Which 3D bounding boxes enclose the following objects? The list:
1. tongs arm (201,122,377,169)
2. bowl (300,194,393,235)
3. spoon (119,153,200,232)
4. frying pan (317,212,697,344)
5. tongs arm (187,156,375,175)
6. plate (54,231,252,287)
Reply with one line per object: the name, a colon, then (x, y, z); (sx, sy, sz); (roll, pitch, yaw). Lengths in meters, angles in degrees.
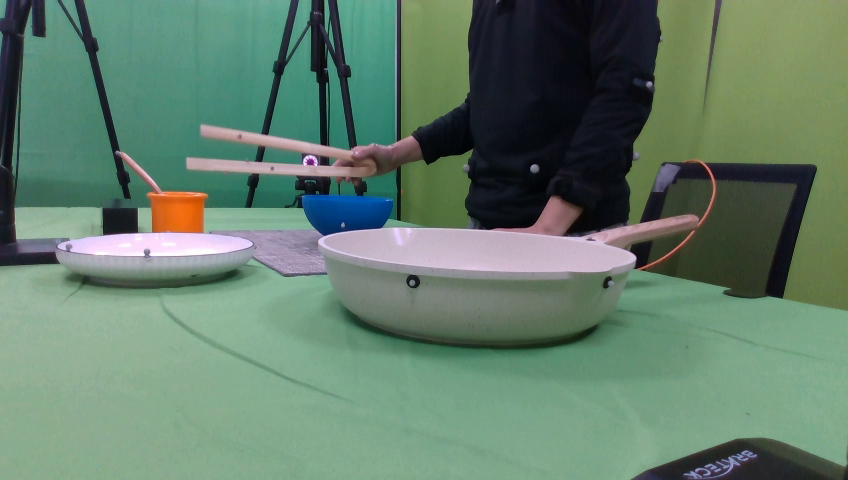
tongs arm: (-0.251, -0.188, 1.209); (0.390, 0.027, 0.028); (5, -31, -39)
bowl: (-0.128, -0.034, 0.995); (0.151, 0.077, 0.151); (2, 7, 0)
spoon: (-0.439, -0.077, 1.000); (0.021, 0.193, 0.042); (-43, -7, 21)
frying pan: (0.133, 0.013, 0.629); (0.490, 0.102, 0.305); (-12, 14, -31)
tongs arm: (-0.287, -0.160, 1.264); (0.387, 0.026, 0.050); (0, -25, -30)
plate: (-0.309, 0.020, 0.705); (0.208, 0.039, 0.207); (3, 7, 0)
